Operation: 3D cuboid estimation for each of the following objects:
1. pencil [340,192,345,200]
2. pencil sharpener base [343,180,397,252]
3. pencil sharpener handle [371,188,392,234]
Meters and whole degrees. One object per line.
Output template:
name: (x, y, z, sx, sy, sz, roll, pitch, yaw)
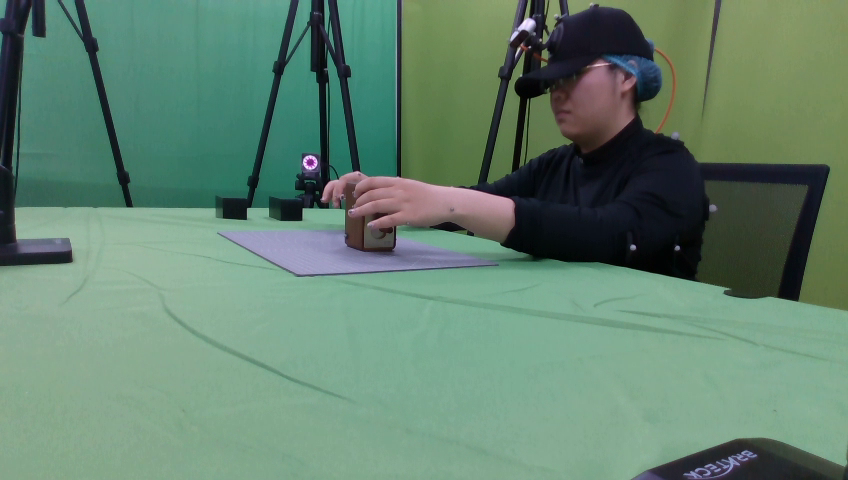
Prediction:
pencil: (-0.145, -0.078, 1.100, 0.012, 0.012, 0.193, 2, 6, -10)
pencil sharpener base: (-0.085, -0.039, 0.957, 0.062, 0.107, 0.076, -1, 9, -32)
pencil sharpener handle: (-0.058, -0.044, 0.913, 0.036, 0.067, 0.030, -2, 9, -32)
